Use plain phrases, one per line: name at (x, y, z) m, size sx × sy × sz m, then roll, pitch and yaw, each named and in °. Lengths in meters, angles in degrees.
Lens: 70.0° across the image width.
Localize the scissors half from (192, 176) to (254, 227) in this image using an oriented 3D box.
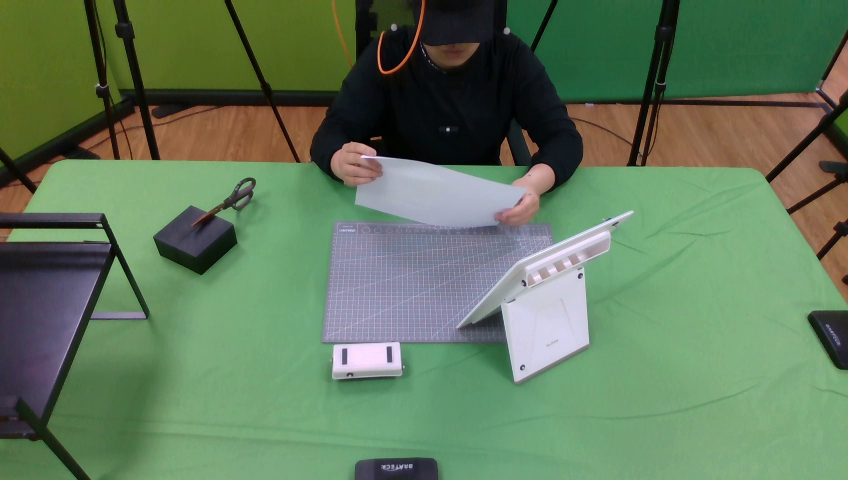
scissors half at (-0.388, -0.075, 1.174) m, size 0.013 × 0.040 × 0.174 m, roll 29°, pitch 48°, yaw 8°

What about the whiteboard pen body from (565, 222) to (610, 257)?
whiteboard pen body at (0.335, -0.004, 1.228) m, size 0.141 × 0.017 × 0.017 m, roll -32°, pitch 56°, yaw -29°

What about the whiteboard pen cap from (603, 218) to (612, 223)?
whiteboard pen cap at (0.379, -0.031, 1.255) m, size 0.033 × 0.018 × 0.018 m, roll -33°, pitch 56°, yaw -28°

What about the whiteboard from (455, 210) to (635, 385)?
whiteboard at (0.211, 0.111, 0.955) m, size 0.217 × 0.306 × 0.143 m, roll -20°, pitch 71°, yaw -23°

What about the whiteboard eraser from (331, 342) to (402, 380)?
whiteboard eraser at (-0.094, 0.198, 0.986) m, size 0.113 × 0.042 × 0.055 m, roll -2°, pitch 44°, yaw -6°

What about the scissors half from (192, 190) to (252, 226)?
scissors half at (-0.393, -0.060, 1.187) m, size 0.013 × 0.040 × 0.175 m, roll 25°, pitch 29°, yaw 11°
